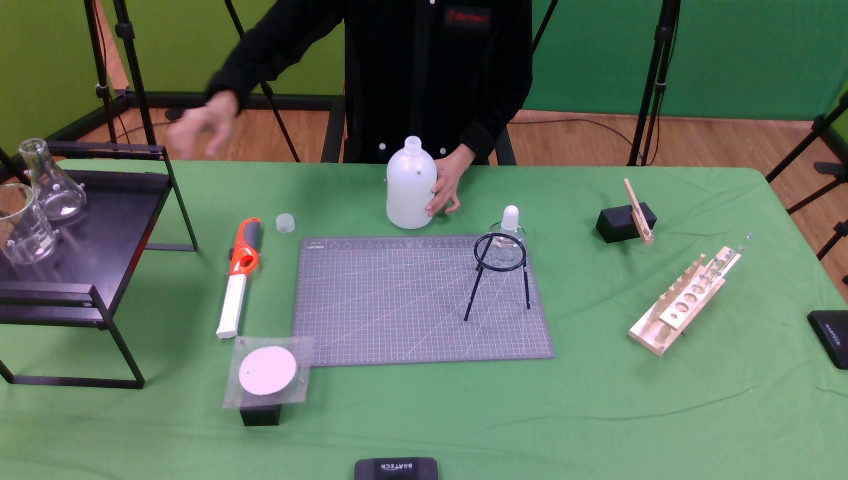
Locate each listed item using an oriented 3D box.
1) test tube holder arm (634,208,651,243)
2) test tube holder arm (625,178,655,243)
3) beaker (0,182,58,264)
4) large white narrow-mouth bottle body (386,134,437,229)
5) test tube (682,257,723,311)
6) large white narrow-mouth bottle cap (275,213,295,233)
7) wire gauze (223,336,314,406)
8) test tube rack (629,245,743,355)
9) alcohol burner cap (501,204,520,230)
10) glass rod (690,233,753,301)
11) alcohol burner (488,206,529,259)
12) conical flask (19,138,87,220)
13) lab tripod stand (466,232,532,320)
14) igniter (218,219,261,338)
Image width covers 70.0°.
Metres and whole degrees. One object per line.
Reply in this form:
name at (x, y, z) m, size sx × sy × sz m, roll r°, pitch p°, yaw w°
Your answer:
test tube holder arm at (0.428, -0.030, 1.189) m, size 0.010 × 0.015 × 0.087 m, roll 2°, pitch 47°, yaw -3°
test tube holder arm at (0.433, -0.062, 1.220) m, size 0.013 × 0.015 × 0.177 m, roll 1°, pitch 47°, yaw -3°
beaker at (-0.582, -0.019, 0.870) m, size 0.074 × 0.101 × 0.083 m, roll 5°, pitch 46°, yaw 1°
large white narrow-mouth bottle body at (-0.024, -0.120, 1.191) m, size 0.102 × 0.195 × 0.101 m, roll 2°, pitch 46°, yaw -2°
test tube at (0.475, 0.080, 1.037) m, size 0.017 × 0.151 × 0.017 m, roll 1°, pitch 51°, yaw -1°
large white narrow-mouth bottle cap at (-0.277, -0.034, 1.213) m, size 0.038 × 0.024 × 0.037 m, roll 3°, pitch 46°, yaw -3°
wire gauze at (-0.236, 0.197, 0.931) m, size 0.121 × 0.011 × 0.124 m, roll 1°, pitch 45°, yaw -4°
test tube rack at (0.474, 0.095, 1.091) m, size 0.242 × 0.085 × 0.066 m, roll -34°, pitch 56°, yaw -31°
alcohol burner cap at (0.164, -0.046, 1.133) m, size 0.034 × 0.048 × 0.033 m, roll 2°, pitch 40°, yaw -2°
glass rod at (0.507, 0.053, 1.041) m, size 0.008 × 0.200 × 0.008 m, roll 5°, pitch 51°, yaw -6°
alcohol burner at (0.163, -0.020, 1.158) m, size 0.078 × 0.120 × 0.077 m, roll 1°, pitch 47°, yaw 0°
conical flask at (-0.576, -0.097, 0.930) m, size 0.075 × 0.122 × 0.075 m, roll 2°, pitch 46°, yaw -2°
lab tripod stand at (0.125, 0.059, 1.065) m, size 0.148 × 0.132 × 0.147 m, roll 1°, pitch 45°, yaw 0°
igniter at (-0.336, 0.060, 1.111) m, size 0.057 × 0.025 × 0.274 m, roll -8°, pitch 46°, yaw 3°
